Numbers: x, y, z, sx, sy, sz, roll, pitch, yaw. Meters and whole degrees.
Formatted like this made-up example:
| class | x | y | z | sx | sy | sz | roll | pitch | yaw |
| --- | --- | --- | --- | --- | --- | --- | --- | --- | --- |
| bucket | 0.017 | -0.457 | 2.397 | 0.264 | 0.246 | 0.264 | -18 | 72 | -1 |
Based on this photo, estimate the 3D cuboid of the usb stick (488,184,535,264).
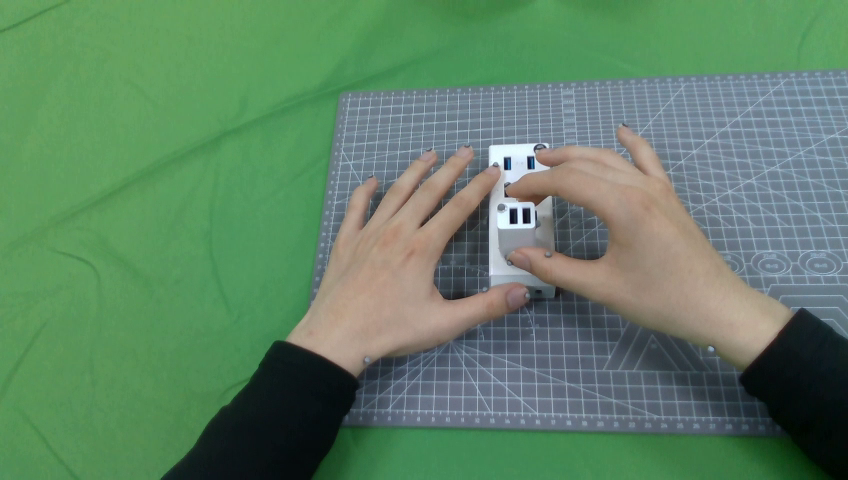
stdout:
| class | x | y | z | sx | sy | sz | roll | pitch | yaw |
| --- | --- | --- | --- | --- | --- | --- | --- | --- | --- |
| usb stick | 0.059 | -0.012 | 0.410 | 0.027 | 0.060 | 0.021 | -26 | 52 | -14 |

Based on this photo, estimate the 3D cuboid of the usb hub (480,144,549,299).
| class | x | y | z | sx | sy | sz | roll | pitch | yaw |
| --- | --- | --- | --- | --- | --- | --- | --- | --- | --- |
| usb hub | 0.069 | -0.017 | 0.461 | 0.049 | 0.025 | 0.124 | 1 | 62 | 7 |
